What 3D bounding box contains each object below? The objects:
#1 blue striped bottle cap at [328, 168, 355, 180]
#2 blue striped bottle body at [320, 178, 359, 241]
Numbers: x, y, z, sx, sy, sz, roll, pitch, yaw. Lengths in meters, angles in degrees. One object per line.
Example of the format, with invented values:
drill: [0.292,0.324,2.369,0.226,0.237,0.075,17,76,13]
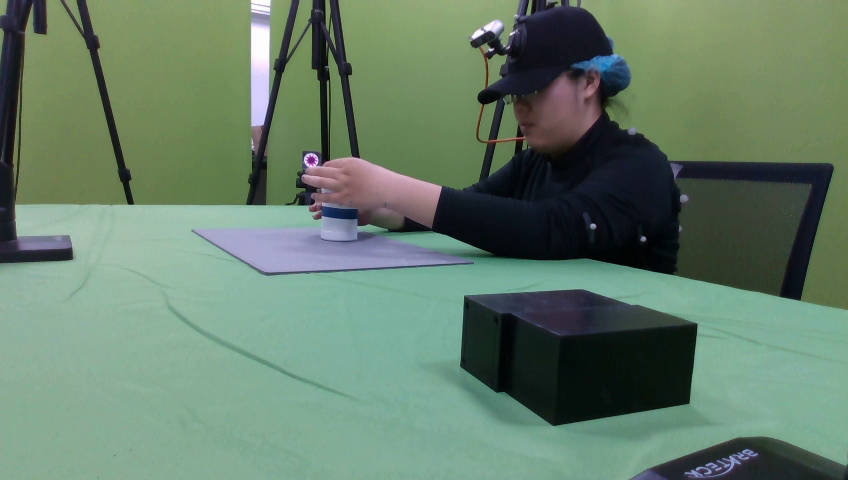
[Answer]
blue striped bottle cap: [-0.139,-0.111,1.015,0.044,0.020,0.044,0,5,0]
blue striped bottle body: [-0.142,-0.061,1.022,0.063,0.120,0.063,3,7,0]
